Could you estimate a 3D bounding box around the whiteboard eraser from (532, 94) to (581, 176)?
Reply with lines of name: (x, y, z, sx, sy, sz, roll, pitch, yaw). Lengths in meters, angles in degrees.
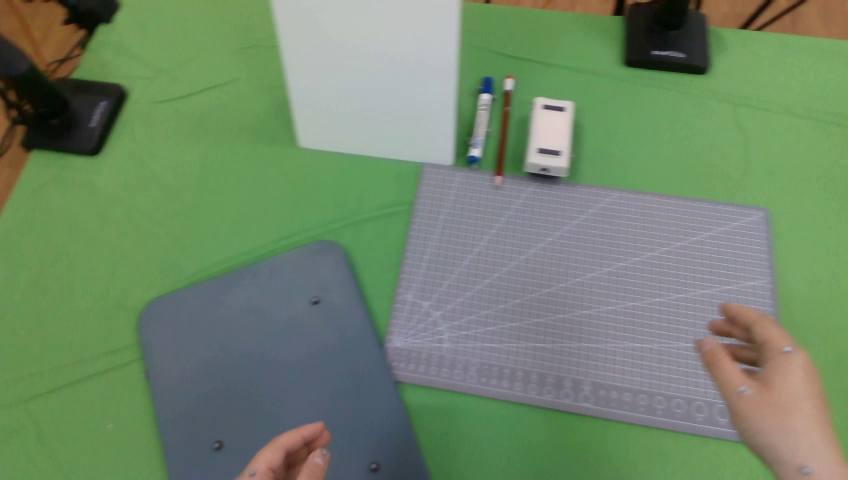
whiteboard eraser: (0.178, -0.139, 0.809, 0.055, 0.042, 0.112, 8, 65, 7)

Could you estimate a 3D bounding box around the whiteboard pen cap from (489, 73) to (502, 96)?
whiteboard pen cap: (0.102, -0.221, 0.863, 0.018, 0.018, 0.033, 8, 63, 6)

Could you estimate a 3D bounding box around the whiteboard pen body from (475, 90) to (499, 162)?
whiteboard pen body: (0.089, -0.169, 0.839, 0.017, 0.017, 0.140, 10, 65, 7)

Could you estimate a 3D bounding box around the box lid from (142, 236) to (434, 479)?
box lid: (-0.160, 0.181, 0.681, 0.263, 0.015, 0.368, -20, 65, -7)

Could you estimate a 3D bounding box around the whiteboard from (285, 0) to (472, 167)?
whiteboard: (-0.042, -0.268, 0.766, 0.217, 0.308, 0.142, 9, 45, 7)

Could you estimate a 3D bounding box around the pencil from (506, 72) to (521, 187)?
pencil: (0.123, -0.155, 0.835, 0.012, 0.012, 0.192, 6, 65, 5)
